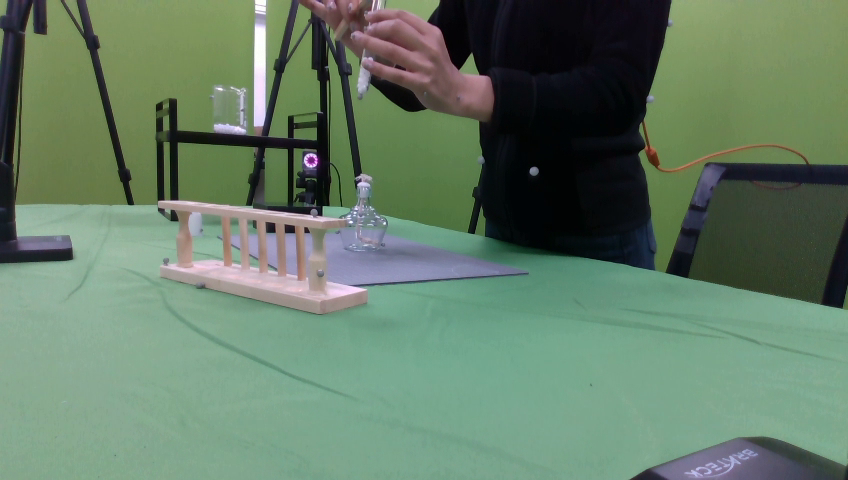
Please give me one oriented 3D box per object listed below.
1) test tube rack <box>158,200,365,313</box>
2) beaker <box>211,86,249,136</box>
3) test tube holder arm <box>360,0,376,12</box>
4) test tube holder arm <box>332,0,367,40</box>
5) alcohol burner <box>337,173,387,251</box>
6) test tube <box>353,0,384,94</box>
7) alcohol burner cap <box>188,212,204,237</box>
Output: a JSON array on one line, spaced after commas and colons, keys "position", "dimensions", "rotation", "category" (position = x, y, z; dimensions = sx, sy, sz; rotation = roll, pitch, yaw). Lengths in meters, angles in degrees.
[{"position": [-0.173, 0.008, 0.624], "dimensions": [0.241, 0.085, 0.067], "rotation": [7, 9, 34], "category": "test tube rack"}, {"position": [-0.413, -0.274, 1.297], "dimensions": [0.074, 0.100, 0.083], "rotation": [-5, 11, -44], "category": "beaker"}, {"position": [-0.060, -0.313, 0.766], "dimensions": [0.010, 0.015, 0.087], "rotation": [9, -12, -38], "category": "test tube holder arm"}, {"position": [-0.089, -0.308, 0.800], "dimensions": [0.013, 0.015, 0.177], "rotation": [8, -11, -28], "category": "test tube holder arm"}, {"position": [-0.095, -0.043, 0.926], "dimensions": [0.078, 0.119, 0.078], "rotation": [3, 6, 0], "category": "alcohol burner"}, {"position": [-0.065, -0.249, 0.734], "dimensions": [0.017, 0.150, 0.017], "rotation": [10, -9, 2], "category": "test tube"}, {"position": [-0.390, -0.029, 1.025], "dimensions": [0.034, 0.048, 0.034], "rotation": [2, 8, 0], "category": "alcohol burner cap"}]
